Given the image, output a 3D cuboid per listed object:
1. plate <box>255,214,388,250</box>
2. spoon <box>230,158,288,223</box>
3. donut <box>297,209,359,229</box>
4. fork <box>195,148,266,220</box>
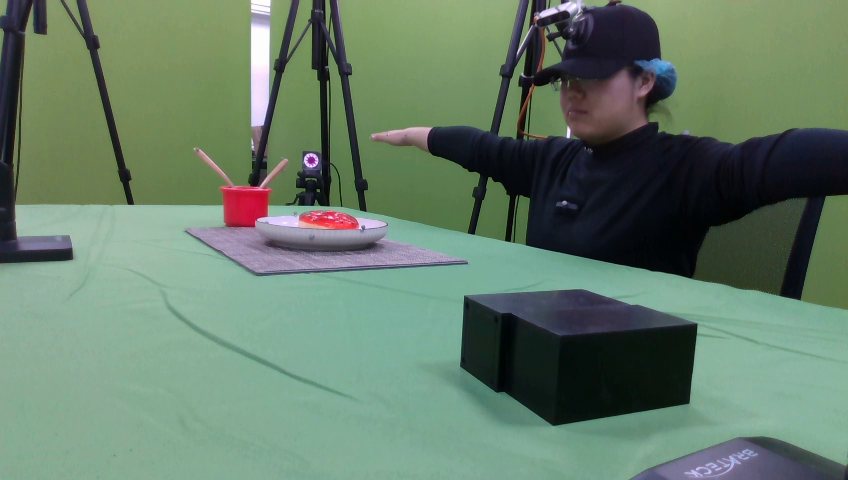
[{"bbox_3d":[-0.161,-0.013,0.961,0.209,0.038,0.209,2,7,0],"label":"plate"},{"bbox_3d":[-0.322,-0.101,1.206,0.041,0.022,0.194,13,55,22],"label":"spoon"},{"bbox_3d":[-0.151,-0.023,0.955,0.099,0.048,0.099,6,7,0],"label":"donut"},{"bbox_3d":[-0.386,-0.110,1.199,0.028,0.207,0.018,-38,-6,-39],"label":"fork"}]
